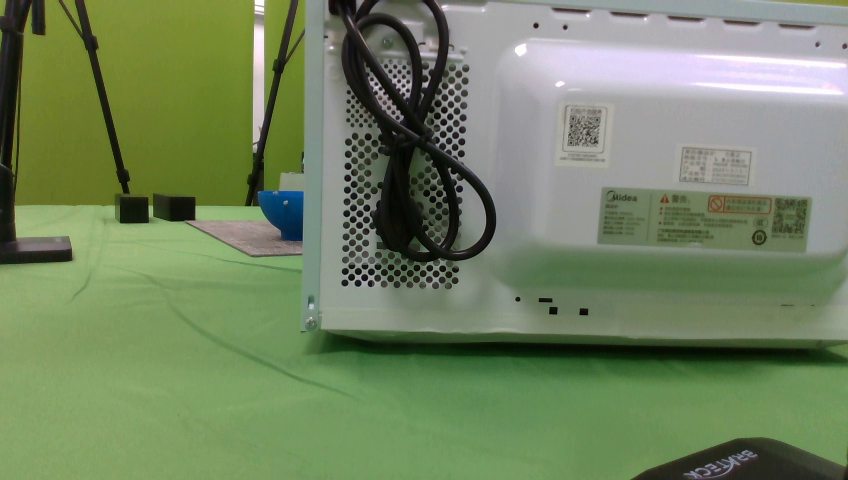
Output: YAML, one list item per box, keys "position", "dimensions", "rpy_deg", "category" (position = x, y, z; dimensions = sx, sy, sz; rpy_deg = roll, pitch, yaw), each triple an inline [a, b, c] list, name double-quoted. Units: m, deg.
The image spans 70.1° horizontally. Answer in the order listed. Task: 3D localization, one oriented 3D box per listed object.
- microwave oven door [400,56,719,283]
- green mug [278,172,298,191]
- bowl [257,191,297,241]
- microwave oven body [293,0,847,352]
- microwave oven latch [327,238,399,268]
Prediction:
- position: [0.155, -0.078, 0.698]
  dimensions: [0.356, 0.243, 0.039]
  rpy_deg: [2, 8, -5]
  category: "microwave oven door"
- position: [-0.250, -0.089, 1.279]
  dimensions: [0.092, 0.105, 0.126]
  rpy_deg: [9, 9, 40]
  category: "green mug"
- position: [-0.206, -0.041, 1.027]
  dimensions: [0.151, 0.077, 0.151]
  rpy_deg: [3, 8, 0]
  category: "bowl"
- position: [0.122, -0.055, 0.550]
  dimensions: [0.442, 0.260, 0.325]
  rpy_deg: [3, 7, -5]
  category: "microwave oven body"
- position: [-0.069, 0.015, 0.694]
  dimensions: [0.079, 0.029, 0.030]
  rpy_deg: [3, 7, -3]
  category: "microwave oven latch"
